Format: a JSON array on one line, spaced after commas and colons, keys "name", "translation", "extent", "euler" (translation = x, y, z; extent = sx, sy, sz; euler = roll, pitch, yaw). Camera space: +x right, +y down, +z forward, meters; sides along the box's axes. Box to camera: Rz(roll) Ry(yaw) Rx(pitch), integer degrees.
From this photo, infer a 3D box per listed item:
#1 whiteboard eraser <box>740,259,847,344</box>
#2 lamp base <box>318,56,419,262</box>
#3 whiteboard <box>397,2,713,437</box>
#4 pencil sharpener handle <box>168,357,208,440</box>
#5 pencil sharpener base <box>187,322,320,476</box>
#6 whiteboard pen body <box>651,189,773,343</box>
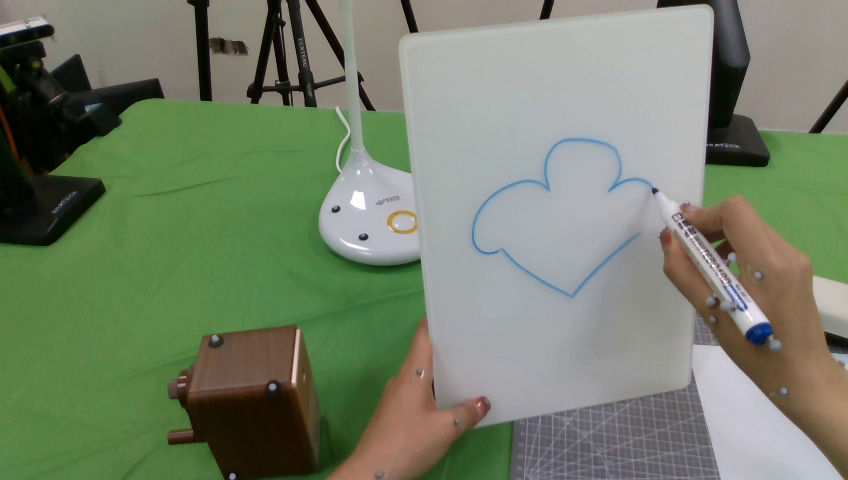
[{"name": "whiteboard eraser", "translation": [0.350, 0.058, 0.555], "extent": [0.112, 0.042, 0.055], "euler": [18, 44, 23]}, {"name": "lamp base", "translation": [-0.051, -0.094, 0.652], "extent": [0.161, 0.182, 0.177], "euler": [-28, 43, -28]}, {"name": "whiteboard", "translation": [0.094, -0.023, 0.506], "extent": [0.217, 0.307, 0.142], "euler": [-8, 20, -6]}, {"name": "pencil sharpener handle", "translation": [-0.174, 0.117, 0.435], "extent": [0.031, 0.068, 0.035], "euler": [-5, 27, -3]}, {"name": "pencil sharpener base", "translation": [-0.123, 0.120, 0.449], "extent": [0.077, 0.108, 0.060], "euler": [-5, 40, -3]}, {"name": "whiteboard pen body", "translation": [0.180, 0.010, 0.393], "extent": [0.017, 0.017, 0.139], "euler": [-8, 43, -7]}]
